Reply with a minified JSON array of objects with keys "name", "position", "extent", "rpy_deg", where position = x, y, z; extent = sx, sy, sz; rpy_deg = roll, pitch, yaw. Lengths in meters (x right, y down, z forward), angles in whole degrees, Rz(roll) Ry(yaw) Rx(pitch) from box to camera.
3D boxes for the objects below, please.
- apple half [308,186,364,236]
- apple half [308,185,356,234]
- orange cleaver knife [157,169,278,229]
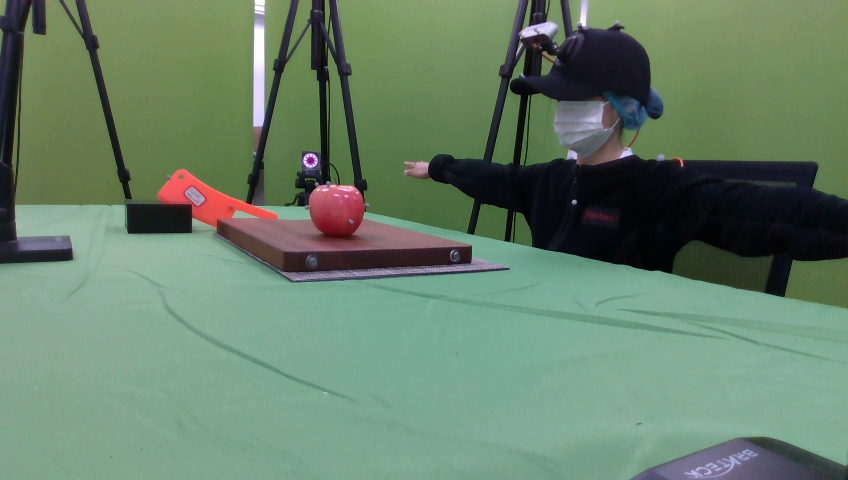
[{"name":"apple half","position":[-0.123,-0.041,0.874],"extent":[0.081,0.074,0.053],"rpy_deg":[4,9,-31]},{"name":"apple half","position":[-0.143,-0.047,0.907],"extent":[0.082,0.081,0.032],"rpy_deg":[-1,12,-31]},{"name":"orange cleaver knife","position":[-0.377,-0.061,1.116],"extent":[0.212,0.077,0.012],"rpy_deg":[25,-7,-28]}]
